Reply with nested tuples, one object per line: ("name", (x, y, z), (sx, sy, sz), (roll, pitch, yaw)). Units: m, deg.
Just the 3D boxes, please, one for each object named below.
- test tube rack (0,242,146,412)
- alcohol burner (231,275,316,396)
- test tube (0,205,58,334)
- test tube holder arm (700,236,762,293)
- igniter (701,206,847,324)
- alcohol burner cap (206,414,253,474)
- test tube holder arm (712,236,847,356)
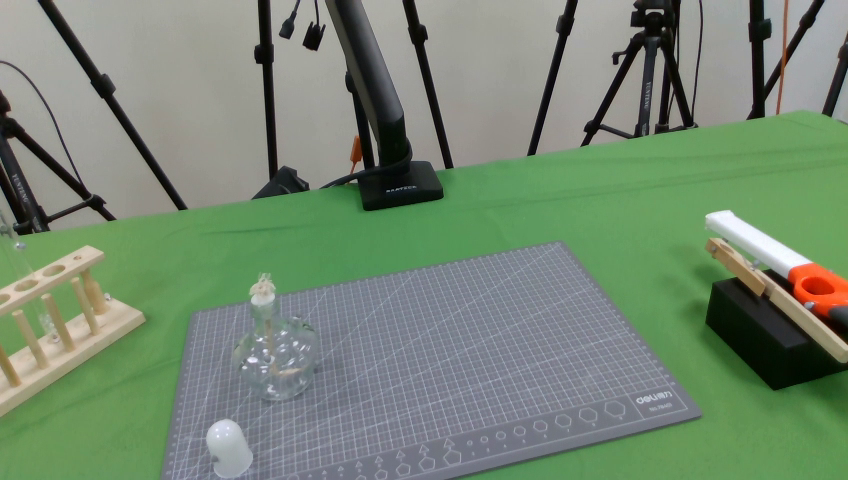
("test tube rack", (-0.413, 0.102, 0.599), (0.066, 0.086, 0.242), (16, 38, 30))
("alcohol burner", (-0.140, 0.084, 0.556), (0.078, 0.120, 0.077), (-4, 30, 3))
("test tube", (-0.404, 0.033, 0.614), (0.017, 0.151, 0.017), (-5, 30, 3))
("test tube holder arm", (0.301, 0.022, 0.590), (0.010, 0.015, 0.087), (-6, 31, -12))
("igniter", (0.354, 0.032, 0.562), (0.057, 0.025, 0.273), (-12, 29, -9))
("alcohol burner cap", (-0.162, 0.164, 0.497), (0.034, 0.048, 0.033), (-3, 32, 2))
("test tube holder arm", (0.317, 0.044, 0.554), (0.013, 0.015, 0.176), (-6, 31, -13))
